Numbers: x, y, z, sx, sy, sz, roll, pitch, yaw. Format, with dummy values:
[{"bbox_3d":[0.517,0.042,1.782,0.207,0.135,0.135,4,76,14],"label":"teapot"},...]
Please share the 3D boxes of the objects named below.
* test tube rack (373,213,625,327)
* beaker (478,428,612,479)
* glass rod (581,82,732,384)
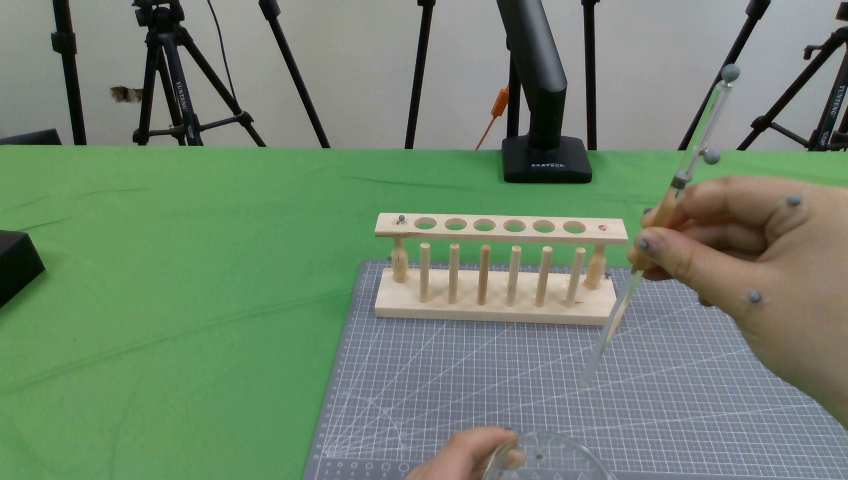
[{"bbox_3d":[0.071,0.029,0.605,0.242,0.086,0.066,2,36,4],"label":"test tube rack"},{"bbox_3d":[0.065,0.177,0.368,0.084,0.101,0.073,-7,37,-13],"label":"beaker"},{"bbox_3d":[0.107,0.013,0.300,0.008,0.201,0.008,4,43,-3],"label":"glass rod"}]
